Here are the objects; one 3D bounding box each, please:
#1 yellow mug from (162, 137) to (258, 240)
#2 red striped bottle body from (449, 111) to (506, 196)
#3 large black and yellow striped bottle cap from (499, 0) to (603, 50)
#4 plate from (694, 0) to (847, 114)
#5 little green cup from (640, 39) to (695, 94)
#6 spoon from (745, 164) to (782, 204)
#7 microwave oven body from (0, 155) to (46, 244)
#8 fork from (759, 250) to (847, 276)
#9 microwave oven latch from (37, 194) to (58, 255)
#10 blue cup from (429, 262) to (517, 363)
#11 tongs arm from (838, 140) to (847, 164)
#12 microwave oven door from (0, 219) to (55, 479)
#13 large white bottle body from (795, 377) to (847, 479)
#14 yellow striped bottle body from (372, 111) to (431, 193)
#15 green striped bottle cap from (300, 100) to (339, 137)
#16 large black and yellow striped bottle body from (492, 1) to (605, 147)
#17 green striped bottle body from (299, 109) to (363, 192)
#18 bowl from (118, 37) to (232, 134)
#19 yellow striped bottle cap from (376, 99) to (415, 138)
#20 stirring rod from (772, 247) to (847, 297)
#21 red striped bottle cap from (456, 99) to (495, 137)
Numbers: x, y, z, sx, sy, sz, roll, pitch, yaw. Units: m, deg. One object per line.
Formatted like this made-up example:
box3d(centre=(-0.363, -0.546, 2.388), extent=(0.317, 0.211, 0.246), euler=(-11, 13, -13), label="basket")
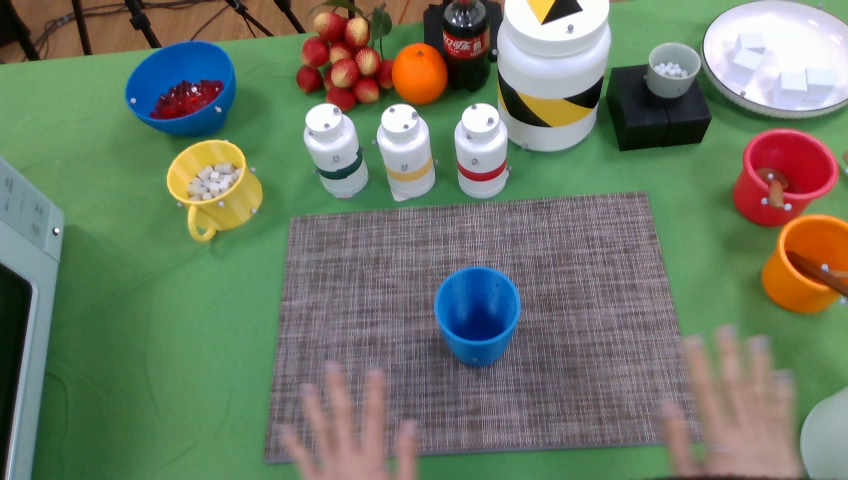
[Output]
box3d(centre=(-0.276, -0.061, 0.772), extent=(0.100, 0.064, 0.130), euler=(5, 62, 8), label="yellow mug")
box3d(centre=(0.066, -0.112, 0.733), extent=(0.063, 0.121, 0.062), euler=(-5, 58, 8), label="red striped bottle body")
box3d(centre=(0.140, -0.259, 0.673), extent=(0.115, 0.019, 0.114), euler=(-3, 59, 5), label="large black and yellow striped bottle cap")
box3d(centre=(0.468, -0.246, 0.812), extent=(0.209, 0.038, 0.207), euler=(-2, 61, 5), label="plate")
box3d(centre=(0.300, -0.214, 0.754), extent=(0.061, 0.039, 0.061), euler=(-2, 59, 4), label="little green cup")
box3d(centre=(0.373, -0.063, 0.659), extent=(0.041, 0.194, 0.022), euler=(26, 112, 20), label="spoon")
box3d(centre=(-0.605, 0.116, 0.592), extent=(0.326, 0.262, 0.437), euler=(-12, 61, -1), label="microwave oven body")
box3d(centre=(0.428, 0.034, 0.595), extent=(0.028, 0.019, 0.206), euler=(-40, 20, -14), label="fork")
box3d(centre=(-0.485, -0.017, 0.765), extent=(0.030, 0.030, 0.078), euler=(-11, 61, 0), label="microwave oven latch")
box3d(centre=(0.051, 0.084, 0.631), extent=(0.092, 0.101, 0.092), euler=(-2, 59, 3), label="blue cup")
box3d(centre=(0.576, 0.039, 0.641), extent=(0.051, 0.027, 0.381), euler=(-14, 61, -4), label="tongs arm")
box3d(centre=(-0.455, 0.118, 0.569), extent=(0.039, 0.246, 0.352), euler=(-13, 60, 0), label="microwave oven door")
box3d(centre=(0.414, 0.162, 0.503), extent=(0.130, 0.186, 0.129), euler=(-3, 60, 5), label="large white bottle body")
box3d(centre=(-0.028, -0.115, 0.745), extent=(0.063, 0.121, 0.062), euler=(-3, 60, 6), label="yellow striped bottle body")
box3d(centre=(-0.123, -0.143, 0.710), extent=(0.044, 0.020, 0.044), euler=(-2, 60, 4), label="green striped bottle cap")
box3d(centre=(0.150, -0.218, 0.747), extent=(0.130, 0.185, 0.129), euler=(-3, 60, 5), label="large black and yellow striped bottle body")
box3d(centre=(-0.116, -0.117, 0.756), extent=(0.063, 0.120, 0.062), euler=(-2, 60, 5), label="green striped bottle body")
box3d(centre=(-0.335, -0.203, 0.851), extent=(0.151, 0.077, 0.150), euler=(-2, 61, 4), label="bowl")
box3d(centre=(-0.033, -0.141, 0.700), extent=(0.044, 0.019, 0.044), euler=(-2, 62, 4), label="yellow striped bottle cap")
box3d(centre=(0.399, 0.036, 0.605), extent=(0.014, 0.006, 0.175), euler=(-2, 17, 3), label="stirring rod")
box3d(centre=(0.059, -0.139, 0.688), extent=(0.044, 0.018, 0.044), euler=(-1, 59, 2), label="red striped bottle cap")
